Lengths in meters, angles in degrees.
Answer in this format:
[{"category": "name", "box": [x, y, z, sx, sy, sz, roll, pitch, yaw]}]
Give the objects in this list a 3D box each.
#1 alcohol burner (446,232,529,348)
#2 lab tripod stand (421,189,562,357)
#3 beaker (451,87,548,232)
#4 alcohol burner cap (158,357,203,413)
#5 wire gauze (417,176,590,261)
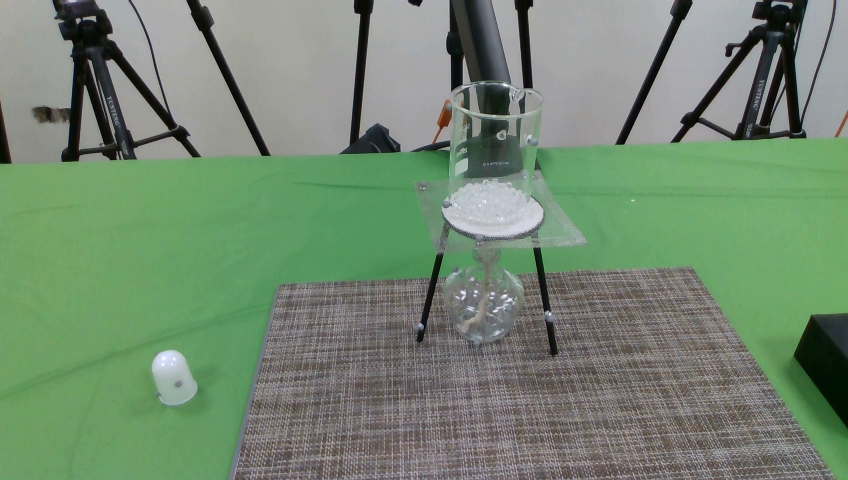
[{"category": "alcohol burner", "box": [0.060, 0.042, 0.560, 0.078, 0.120, 0.077, 0, 36, 0]}, {"category": "lab tripod stand", "box": [0.067, 0.031, 0.558, 0.148, 0.132, 0.147, 1, 34, 0]}, {"category": "beaker", "box": [0.060, -0.065, 0.496, 0.073, 0.101, 0.084, 19, 38, 24]}, {"category": "alcohol burner cap", "box": [-0.212, 0.122, 0.521, 0.034, 0.048, 0.033, 0, 34, 1]}, {"category": "wire gauze", "box": [0.063, -0.020, 0.517, 0.125, 0.011, 0.120, -2, 36, -9]}]
